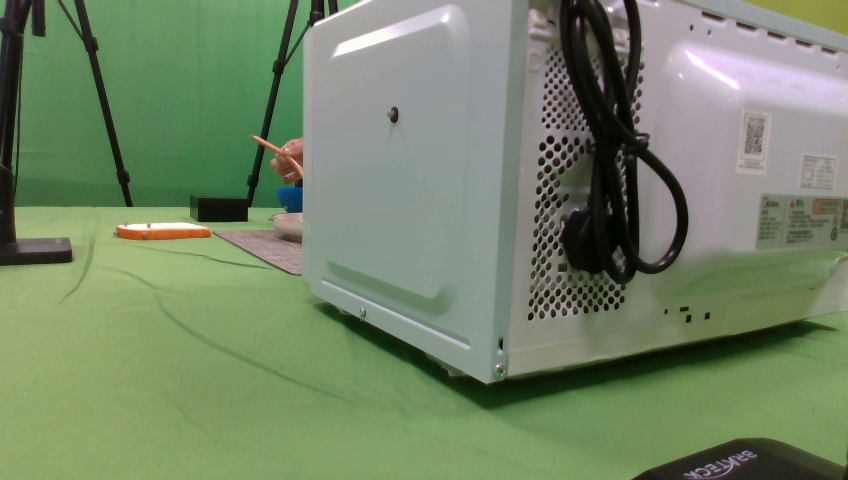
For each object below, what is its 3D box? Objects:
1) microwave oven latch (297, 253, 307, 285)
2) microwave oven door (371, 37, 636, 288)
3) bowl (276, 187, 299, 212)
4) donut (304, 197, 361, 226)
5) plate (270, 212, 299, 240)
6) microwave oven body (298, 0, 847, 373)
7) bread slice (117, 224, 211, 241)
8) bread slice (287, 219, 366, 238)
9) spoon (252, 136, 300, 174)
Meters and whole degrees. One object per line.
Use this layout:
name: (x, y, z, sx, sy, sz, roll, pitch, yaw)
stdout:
microwave oven latch: (-0.082, 0.027, 0.582, 0.079, 0.029, 0.030, -1, 7, -32)
microwave oven door: (0.109, -0.080, 0.686, 0.358, 0.243, 0.039, -2, 9, -33)
bowl: (-0.241, -0.073, 1.302, 0.151, 0.077, 0.151, 2, 7, 0)
donut: (-0.159, -0.050, 1.055, 0.099, 0.048, 0.099, 3, 8, 0)
plate: (-0.162, -0.022, 1.058, 0.208, 0.039, 0.207, 2, 7, 0)
microwave oven body: (0.151, -0.055, 0.542, 0.444, 0.260, 0.324, -2, 7, -33)
bread slice: (-0.443, -0.015, 1.022, 0.132, 0.019, 0.104, -3, 8, -45)
bread slice: (-0.170, -0.021, 1.056, 0.134, 0.018, 0.107, 3, 7, -6)
spoon: (-0.246, -0.144, 1.106, 0.193, 0.021, 0.042, 38, 20, 20)
